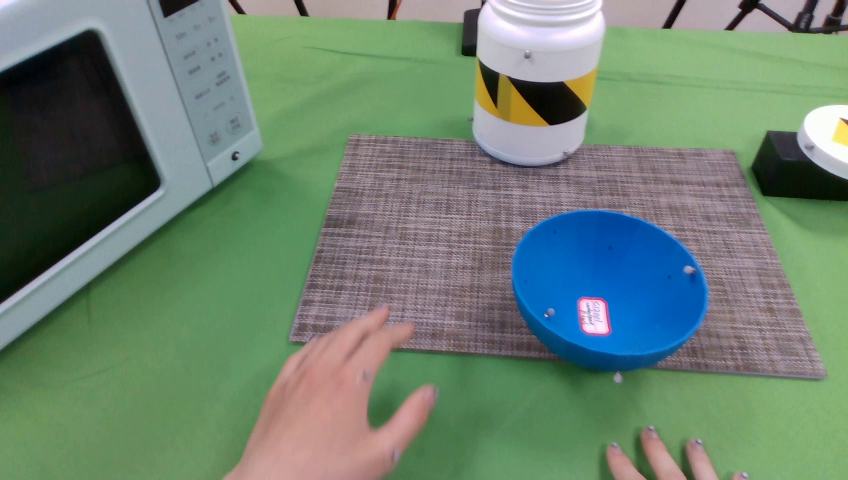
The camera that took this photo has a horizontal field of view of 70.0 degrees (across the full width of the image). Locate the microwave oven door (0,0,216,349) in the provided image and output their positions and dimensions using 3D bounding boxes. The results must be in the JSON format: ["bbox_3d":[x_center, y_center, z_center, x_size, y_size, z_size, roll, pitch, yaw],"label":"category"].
[{"bbox_3d":[-0.330,-0.038,0.457,0.039,0.246,0.354,24,51,23],"label":"microwave oven door"}]

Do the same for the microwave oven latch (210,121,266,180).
[{"bbox_3d":[-0.207,-0.100,0.657,0.030,0.030,0.079,27,53,23],"label":"microwave oven latch"}]

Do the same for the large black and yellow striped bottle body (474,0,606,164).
[{"bbox_3d":[0.123,-0.191,0.660,0.131,0.185,0.129,0,43,0],"label":"large black and yellow striped bottle body"}]

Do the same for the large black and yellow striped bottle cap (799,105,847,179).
[{"bbox_3d":[0.449,-0.100,0.620,0.115,0.019,0.114,-1,46,1],"label":"large black and yellow striped bottle cap"}]

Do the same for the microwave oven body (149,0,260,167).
[{"bbox_3d":[-0.430,-0.116,0.539,0.324,0.262,0.440,25,52,22],"label":"microwave oven body"}]

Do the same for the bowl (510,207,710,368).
[{"bbox_3d":[0.144,0.051,0.500,0.151,0.077,0.150,0,46,1],"label":"bowl"}]
